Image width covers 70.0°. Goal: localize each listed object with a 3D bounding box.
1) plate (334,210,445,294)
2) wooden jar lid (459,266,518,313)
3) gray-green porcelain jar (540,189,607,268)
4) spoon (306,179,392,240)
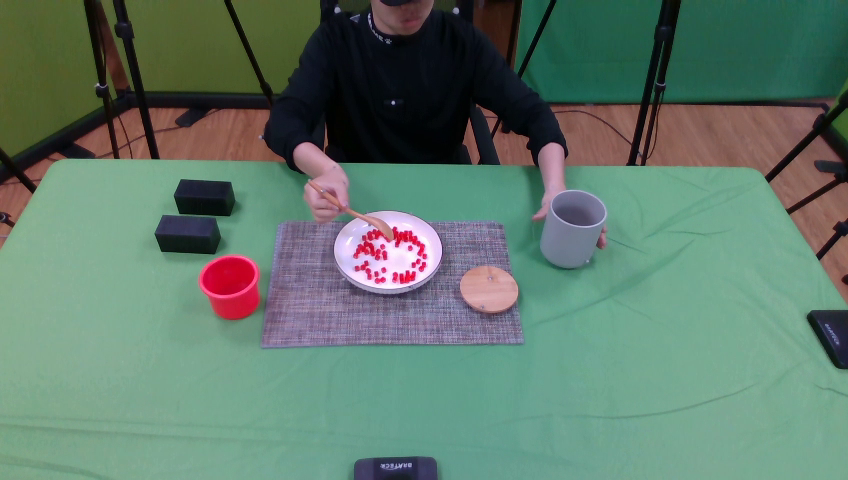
[{"bbox_3d":[-0.066,0.026,1.150,0.208,0.039,0.206,2,46,-2],"label":"plate"},{"bbox_3d":[0.118,0.093,1.111,0.108,0.021,0.107,1,47,-1],"label":"wooden jar lid"},{"bbox_3d":[0.282,-0.017,1.160,0.106,0.127,0.105,2,46,-2],"label":"gray-green porcelain jar"},{"bbox_3d":[-0.133,-0.054,1.095,0.194,0.021,0.041,30,26,-24],"label":"spoon"}]
